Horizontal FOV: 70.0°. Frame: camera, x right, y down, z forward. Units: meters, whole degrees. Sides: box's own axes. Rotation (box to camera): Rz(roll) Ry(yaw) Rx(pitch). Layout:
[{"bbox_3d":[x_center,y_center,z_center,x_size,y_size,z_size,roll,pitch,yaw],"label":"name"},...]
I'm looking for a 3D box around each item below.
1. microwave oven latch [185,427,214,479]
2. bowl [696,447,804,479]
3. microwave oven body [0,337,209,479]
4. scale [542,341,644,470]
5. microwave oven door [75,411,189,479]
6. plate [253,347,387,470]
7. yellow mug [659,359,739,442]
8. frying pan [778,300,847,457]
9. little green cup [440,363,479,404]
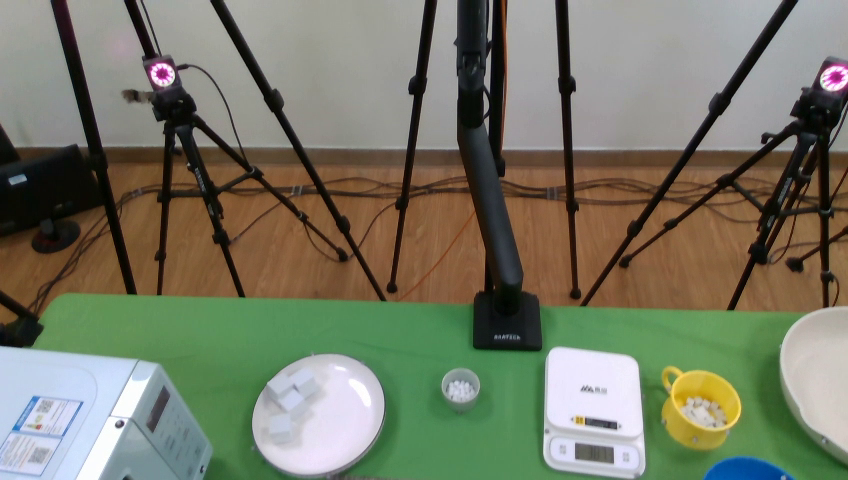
[{"bbox_3d":[-0.336,0.317,0.892,0.030,0.030,0.078,5,48,7],"label":"microwave oven latch"},{"bbox_3d":[0.431,0.364,0.807,0.151,0.077,0.150,-2,47,2],"label":"bowl"},{"bbox_3d":[-0.510,0.369,0.719,0.326,0.262,0.437,4,48,6],"label":"microwave oven body"},{"bbox_3d":[0.263,0.253,0.951,0.148,0.032,0.199,5,48,8],"label":"scale"},{"bbox_3d":[-0.371,0.405,0.671,0.039,0.246,0.352,4,47,7],"label":"microwave oven door"},{"bbox_3d":[-0.161,0.266,0.957,0.207,0.039,0.205,-1,47,2],"label":"plate"},{"bbox_3d":[0.411,0.237,0.935,0.100,0.064,0.129,-23,49,-17],"label":"yellow mug"},{"bbox_3d":[0.728,0.283,0.850,0.307,0.104,0.482,-19,40,-13],"label":"frying pan"},{"bbox_3d":[0.058,0.233,0.976,0.061,0.039,0.061,-2,46,2],"label":"little green cup"}]
